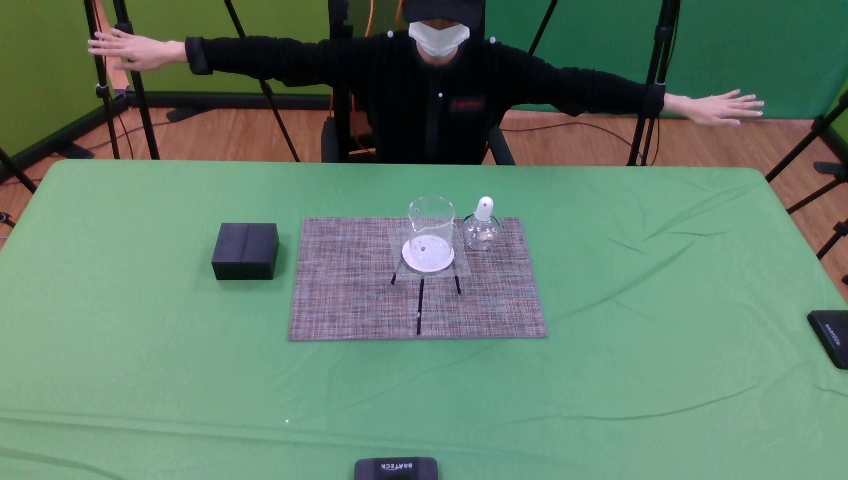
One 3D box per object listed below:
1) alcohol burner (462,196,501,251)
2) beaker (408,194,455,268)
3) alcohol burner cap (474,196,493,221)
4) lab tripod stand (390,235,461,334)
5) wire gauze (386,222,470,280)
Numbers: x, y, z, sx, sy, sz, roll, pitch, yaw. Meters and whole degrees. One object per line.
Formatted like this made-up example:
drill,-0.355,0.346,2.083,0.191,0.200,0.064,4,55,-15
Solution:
alcohol burner,0.112,-0.037,1.173,0.078,0.120,0.077,1,45,-1
beaker,0.009,-0.010,0.965,0.074,0.101,0.084,23,50,20
alcohol burner cap,0.116,-0.062,1.147,0.034,0.048,0.033,6,47,-6
lab tripod stand,-0.001,0.067,1.050,0.148,0.132,0.147,1,47,-1
wire gauze,0.005,0.018,1.006,0.125,0.011,0.120,-7,45,-5
